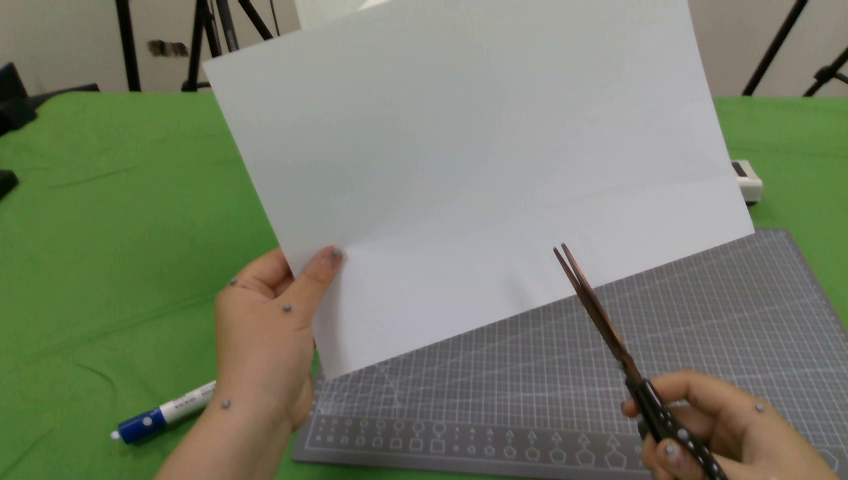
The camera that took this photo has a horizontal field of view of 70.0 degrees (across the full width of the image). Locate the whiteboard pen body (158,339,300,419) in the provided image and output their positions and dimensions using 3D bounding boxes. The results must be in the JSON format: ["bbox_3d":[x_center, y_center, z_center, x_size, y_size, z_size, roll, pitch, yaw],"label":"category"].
[{"bbox_3d":[-0.166,0.115,0.487,0.141,0.017,0.017,-23,43,-26],"label":"whiteboard pen body"}]

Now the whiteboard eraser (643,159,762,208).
[{"bbox_3d":[0.304,-0.062,0.666,0.112,0.042,0.055,0,41,3],"label":"whiteboard eraser"}]

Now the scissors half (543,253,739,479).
[{"bbox_3d":[0.119,0.076,0.335,0.013,0.040,0.174,-33,70,-6],"label":"scissors half"}]

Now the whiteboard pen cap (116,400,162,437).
[{"bbox_3d":[-0.215,0.135,0.462,0.033,0.018,0.018,-24,44,-25],"label":"whiteboard pen cap"}]

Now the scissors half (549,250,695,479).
[{"bbox_3d":[0.118,0.080,0.357,0.013,0.175,0.040,-33,8,-11],"label":"scissors half"}]

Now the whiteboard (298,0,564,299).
[{"bbox_3d":[-0.003,-0.133,0.609,0.217,0.307,0.142,-16,21,-15],"label":"whiteboard"}]
